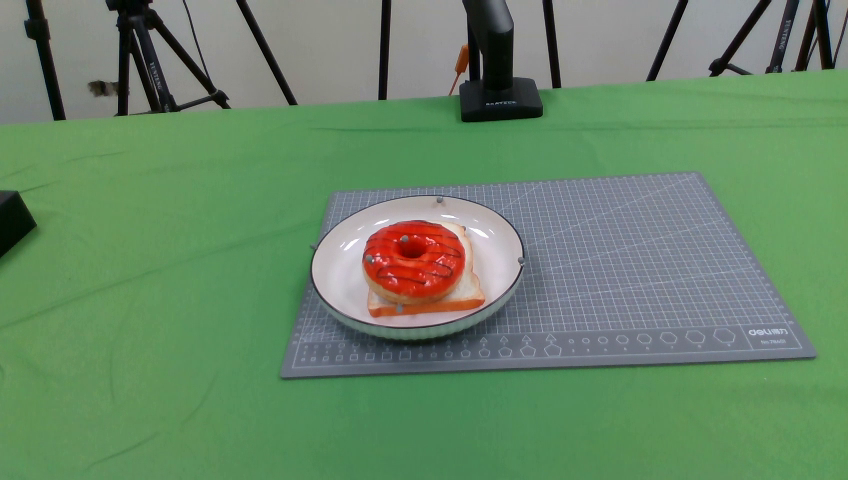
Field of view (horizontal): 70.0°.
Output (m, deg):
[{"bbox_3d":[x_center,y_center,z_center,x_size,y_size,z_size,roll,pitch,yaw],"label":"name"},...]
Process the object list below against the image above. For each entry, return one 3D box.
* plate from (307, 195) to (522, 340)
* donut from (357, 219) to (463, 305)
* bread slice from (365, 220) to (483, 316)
[{"bbox_3d":[-0.008,0.026,0.596,0.209,0.038,0.207,-3,37,2],"label":"plate"},{"bbox_3d":[-0.013,0.020,0.559,0.099,0.048,0.098,-1,40,1],"label":"donut"},{"bbox_3d":[-0.006,0.024,0.601,0.107,0.018,0.133,-6,37,-3],"label":"bread slice"}]
